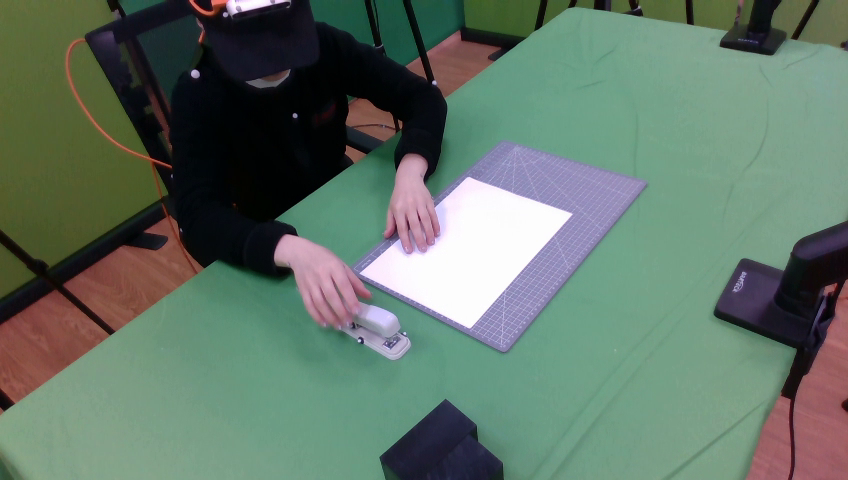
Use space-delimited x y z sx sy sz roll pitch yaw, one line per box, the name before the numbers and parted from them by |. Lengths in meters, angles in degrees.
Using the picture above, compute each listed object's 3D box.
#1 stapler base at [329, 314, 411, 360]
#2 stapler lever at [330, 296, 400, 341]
stapler base | -0.077 0.122 0.841 0.129 0.024 0.041 23 46 33
stapler lever | -0.082 0.102 0.826 0.117 0.040 0.027 22 46 33
